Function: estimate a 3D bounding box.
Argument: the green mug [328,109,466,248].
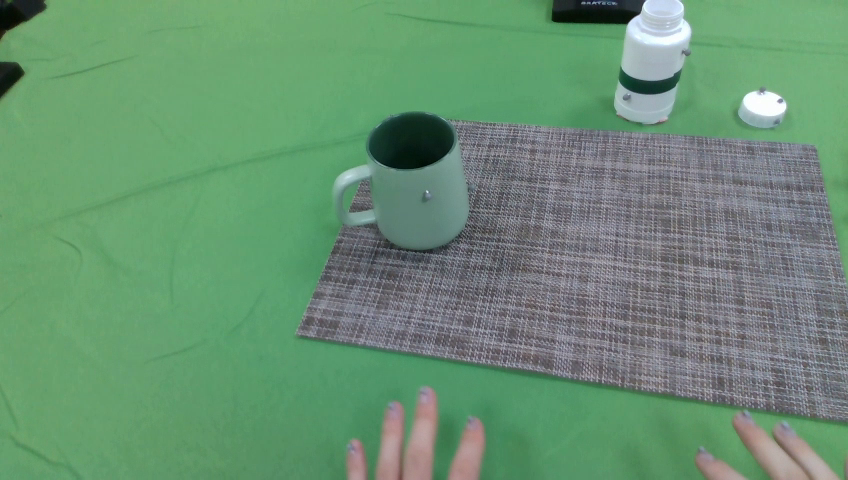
[{"bbox_3d":[-0.025,-0.049,0.550,0.125,0.106,0.091,-19,51,-8],"label":"green mug"}]

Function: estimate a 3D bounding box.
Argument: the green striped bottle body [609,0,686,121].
[{"bbox_3d":[0.232,-0.190,0.631,0.063,0.120,0.062,-3,50,4],"label":"green striped bottle body"}]

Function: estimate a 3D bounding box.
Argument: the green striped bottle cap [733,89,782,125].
[{"bbox_3d":[0.355,-0.141,0.644,0.044,0.020,0.044,-3,47,4],"label":"green striped bottle cap"}]
